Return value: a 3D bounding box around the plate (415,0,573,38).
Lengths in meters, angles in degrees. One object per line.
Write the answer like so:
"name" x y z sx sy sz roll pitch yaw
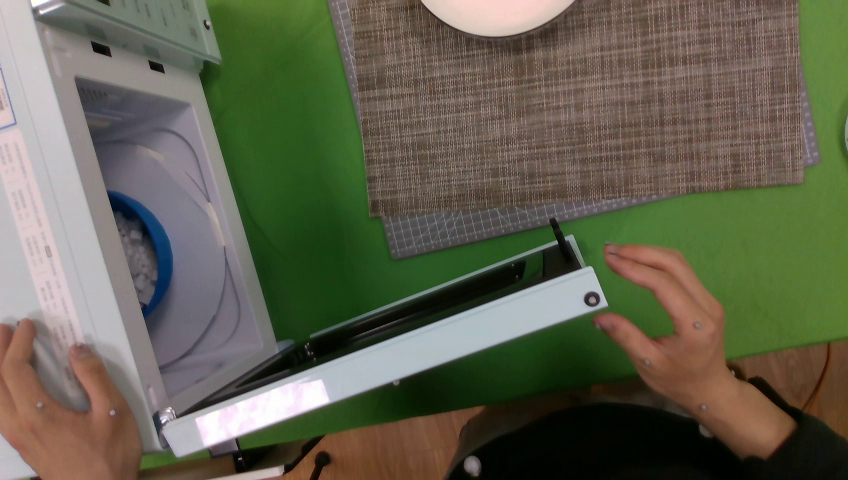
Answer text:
"plate" 0.075 -0.307 0.611 0.209 0.038 0.209 1 95 11

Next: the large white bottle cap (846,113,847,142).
"large white bottle cap" 0.466 -0.112 0.574 0.114 0.018 0.115 1 96 9

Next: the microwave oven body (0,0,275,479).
"microwave oven body" -0.366 -0.020 0.611 0.325 0.260 0.442 -15 94 11

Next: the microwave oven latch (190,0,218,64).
"microwave oven latch" -0.254 -0.237 0.665 0.030 0.029 0.079 -15 94 11

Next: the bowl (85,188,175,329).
"bowl" -0.322 0.020 0.638 0.151 0.077 0.151 1 96 9

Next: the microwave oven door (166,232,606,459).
"microwave oven door" -0.019 0.084 0.554 0.355 0.244 0.039 -23 90 12
